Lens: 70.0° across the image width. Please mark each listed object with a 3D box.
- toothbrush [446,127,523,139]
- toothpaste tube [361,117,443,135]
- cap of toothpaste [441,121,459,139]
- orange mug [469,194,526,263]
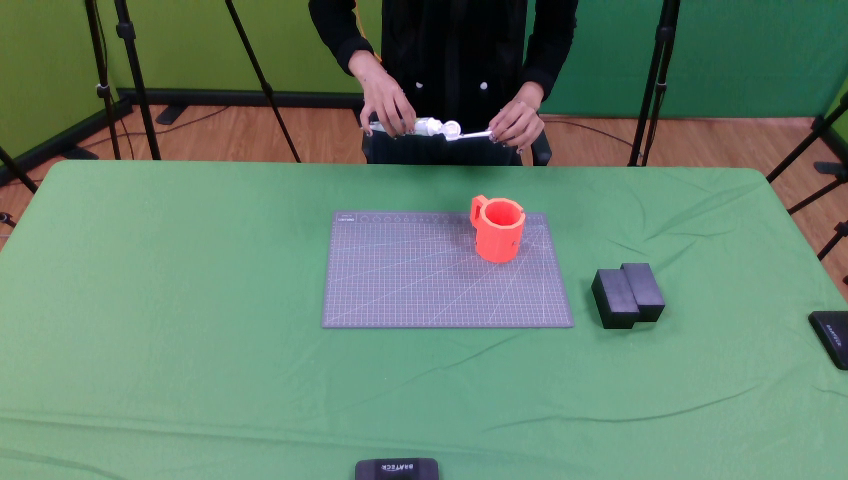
[{"bbox_3d":[0.121,-0.208,1.176,0.182,0.014,0.016,-9,58,-30],"label":"toothbrush"},{"bbox_3d":[-0.039,-0.223,1.175,0.164,0.034,0.055,8,21,24],"label":"toothpaste tube"},{"bbox_3d":[0.049,-0.211,1.159,0.037,0.011,0.037,0,89,0],"label":"cap of toothpaste"},{"bbox_3d":[0.136,-0.030,1.180,0.083,0.101,0.125,-27,58,-26],"label":"orange mug"}]
